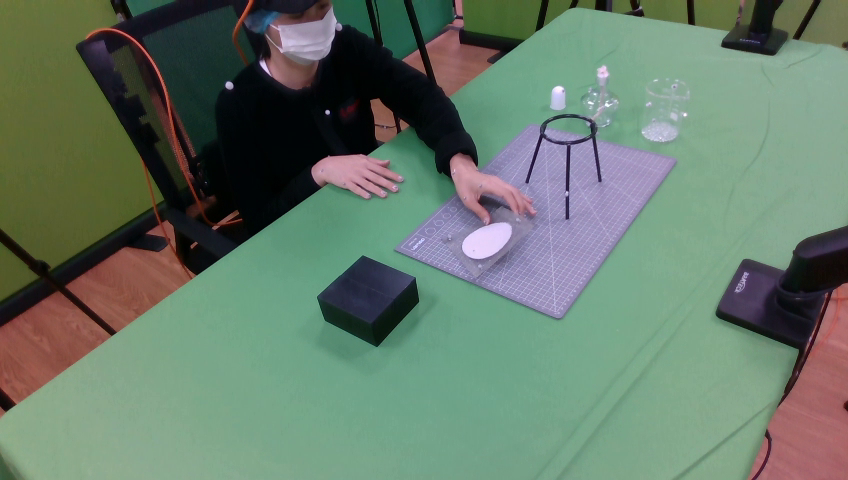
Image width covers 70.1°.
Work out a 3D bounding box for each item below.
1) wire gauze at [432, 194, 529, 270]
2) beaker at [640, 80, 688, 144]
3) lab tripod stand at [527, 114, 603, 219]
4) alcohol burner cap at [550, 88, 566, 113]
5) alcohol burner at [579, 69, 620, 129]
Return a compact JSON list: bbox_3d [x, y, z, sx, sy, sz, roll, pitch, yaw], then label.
[{"bbox_3d":[0.085,-0.014,0.941,0.120,0.011,0.125,20,65,45],"label":"wire gauze"},{"bbox_3d":[0.446,-0.235,1.126,0.074,0.101,0.083,-34,47,-27],"label":"beaker"},{"bbox_3d":[0.234,-0.129,1.002,0.148,0.132,0.147,-6,40,6],"label":"lab tripod stand"},{"bbox_3d":[0.282,-0.296,1.270,0.034,0.048,0.033,-4,41,4],"label":"alcohol burner cap"},{"bbox_3d":[0.345,-0.280,1.184,0.078,0.119,0.077,-4,42,4],"label":"alcohol burner"}]
